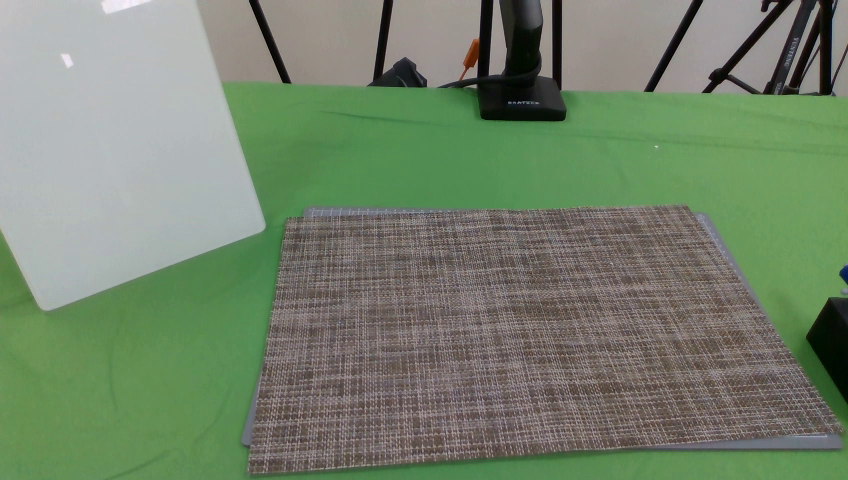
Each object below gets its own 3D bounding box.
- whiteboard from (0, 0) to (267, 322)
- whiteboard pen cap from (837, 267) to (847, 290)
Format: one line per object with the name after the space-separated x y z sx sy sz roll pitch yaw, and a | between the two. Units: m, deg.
-0.316 -0.119 0.583 0.217 0.307 0.142 -24 26 -27 | whiteboard
0.369 0.038 0.514 0.018 0.018 0.033 0 37 -1 | whiteboard pen cap
